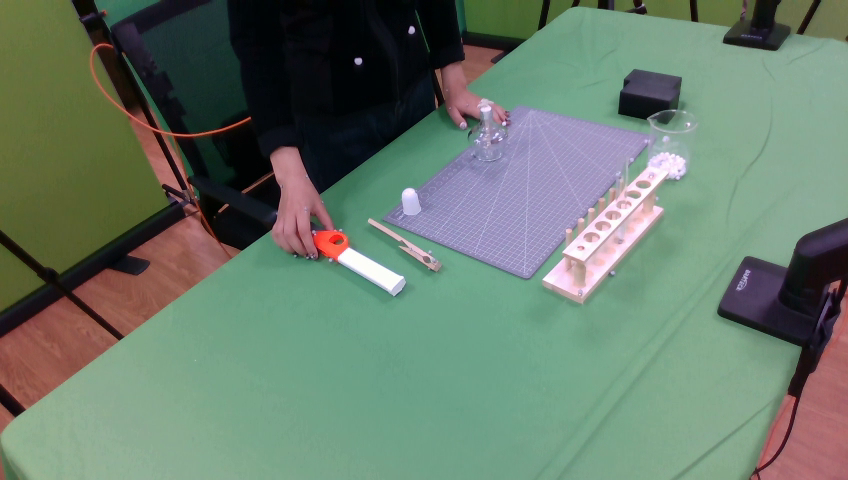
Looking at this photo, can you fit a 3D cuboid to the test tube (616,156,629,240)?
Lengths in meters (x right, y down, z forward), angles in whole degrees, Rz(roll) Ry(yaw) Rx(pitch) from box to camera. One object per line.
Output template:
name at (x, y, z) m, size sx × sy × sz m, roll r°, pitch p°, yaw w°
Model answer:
test tube at (0.284, -0.057, 0.869) m, size 0.017 × 0.151 × 0.017 m, roll -8°, pitch 42°, yaw 8°

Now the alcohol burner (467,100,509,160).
alcohol burner at (0.118, -0.210, 1.131) m, size 0.078 × 0.119 × 0.077 m, roll -6°, pitch 42°, yaw 5°

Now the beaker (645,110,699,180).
beaker at (0.417, -0.160, 1.032) m, size 0.083 × 0.101 × 0.074 m, roll 25°, pitch 51°, yaw 35°

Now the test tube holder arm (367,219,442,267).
test tube holder arm at (-0.035, 0.003, 0.985) m, size 0.177 × 0.015 × 0.013 m, roll 33°, pitch 89°, yaw 40°

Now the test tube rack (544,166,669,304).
test tube rack at (0.274, -0.018, 0.903) m, size 0.066 × 0.085 × 0.243 m, roll 26°, pitch 51°, yaw 35°

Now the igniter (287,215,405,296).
igniter at (-0.136, 0.019, 0.980) m, size 0.274 × 0.025 × 0.057 m, roll 27°, pitch 60°, yaw 36°

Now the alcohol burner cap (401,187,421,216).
alcohol burner cap at (-0.025, -0.070, 1.048) m, size 0.034 × 0.048 × 0.033 m, roll -5°, pitch 41°, yaw 5°

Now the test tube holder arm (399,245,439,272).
test tube holder arm at (-0.009, 0.026, 0.957) m, size 0.087 × 0.015 × 0.010 m, roll 35°, pitch 91°, yaw 40°
